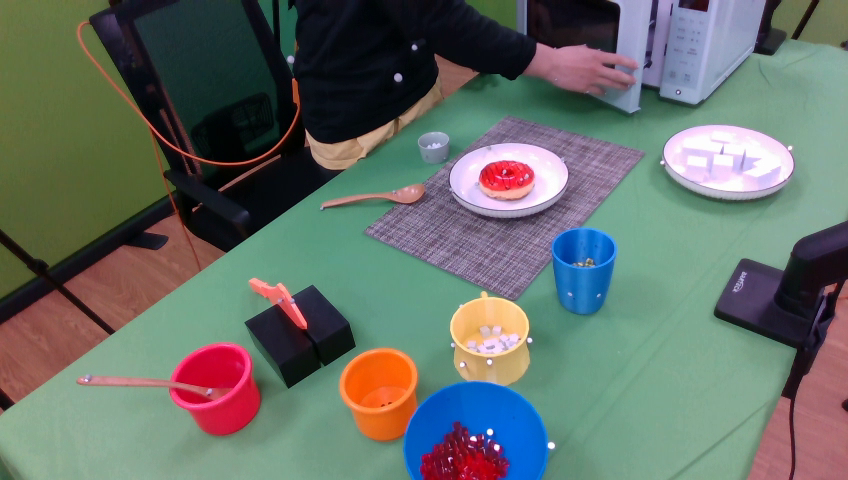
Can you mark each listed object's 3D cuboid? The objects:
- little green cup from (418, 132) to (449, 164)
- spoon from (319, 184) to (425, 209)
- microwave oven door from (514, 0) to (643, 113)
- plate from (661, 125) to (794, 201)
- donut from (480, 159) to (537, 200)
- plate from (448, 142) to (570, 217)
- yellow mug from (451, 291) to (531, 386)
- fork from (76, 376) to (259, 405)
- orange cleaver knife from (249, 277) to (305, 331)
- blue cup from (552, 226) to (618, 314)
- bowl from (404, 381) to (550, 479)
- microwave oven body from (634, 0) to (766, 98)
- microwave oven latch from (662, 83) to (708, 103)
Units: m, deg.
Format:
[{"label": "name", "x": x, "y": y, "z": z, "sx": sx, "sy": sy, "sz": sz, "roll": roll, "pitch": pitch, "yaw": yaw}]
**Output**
[{"label": "little green cup", "x": 0.019, "y": -0.178, "z": 1.168, "sx": 0.061, "sy": 0.039, "sz": 0.061, "roll": -3, "pitch": 41, "yaw": 3}, {"label": "spoon", "x": -0.094, "y": -0.076, "z": 1.074, "sx": 0.193, "sy": 0.022, "sz": 0.041, "roll": -5, "pitch": 57, "yaw": 5}, {"label": "microwave oven door", "x": 0.310, "y": -0.433, "z": 1.240, "sx": 0.039, "sy": 0.245, "sz": 0.352, "roll": -27, "pitch": 44, "yaw": -21}, {"label": "plate", "x": 0.514, "y": -0.128, "z": 1.035, "sx": 0.207, "sy": 0.039, "sz": 0.206, "roll": -4, "pitch": 40, "yaw": 4}, {"label": "donut", "x": 0.145, "y": -0.106, "z": 1.042, "sx": 0.099, "sy": 0.048, "sz": 0.098, "roll": -4, "pitch": 38, "yaw": 4}, {"label": "plate", "x": 0.148, "y": -0.101, "z": 1.053, "sx": 0.209, "sy": 0.038, "sz": 0.208, "roll": -4, "pitch": 40, "yaw": 4}, {"label": "yellow mug", "x": 0.085, "y": 0.120, "z": 0.786, "sx": 0.100, "sy": 0.064, "sz": 0.130, "roll": -7, "pitch": 39, "yaw": 1}, {"label": "fork", "x": -0.295, "y": 0.176, "z": 0.716, "sx": 0.209, "sy": 0.018, "sz": 0.028, "roll": 20, "pitch": 26, "yaw": -37}, {"label": "orange cleaver knife", "x": -0.210, "y": 0.088, "z": 0.856, "sx": 0.012, "sy": 0.077, "sz": 0.210, "roll": -28, "pitch": 15, "yaw": -25}, {"label": "blue cup", "x": 0.218, "y": 0.047, "z": 0.826, "sx": 0.092, "sy": 0.101, "sz": 0.092, "roll": -6, "pitch": 40, "yaw": 5}, {"label": "bowl", "x": 0.058, "y": 0.235, "z": 0.645, "sx": 0.151, "sy": 0.077, "sz": 0.150, "roll": -4, "pitch": 39, "yaw": 4}, {"label": "microwave oven body", "x": 0.472, "y": -0.513, "z": 1.317, "sx": 0.438, "sy": 0.261, "sz": 0.327, "roll": 26, "pitch": 51, "yaw": 34}, {"label": "microwave oven latch", "x": 0.518, "y": -0.297, "z": 1.204, "sx": 0.078, "sy": 0.029, "sz": 0.030, "roll": 28, "pitch": 52, "yaw": 36}]
